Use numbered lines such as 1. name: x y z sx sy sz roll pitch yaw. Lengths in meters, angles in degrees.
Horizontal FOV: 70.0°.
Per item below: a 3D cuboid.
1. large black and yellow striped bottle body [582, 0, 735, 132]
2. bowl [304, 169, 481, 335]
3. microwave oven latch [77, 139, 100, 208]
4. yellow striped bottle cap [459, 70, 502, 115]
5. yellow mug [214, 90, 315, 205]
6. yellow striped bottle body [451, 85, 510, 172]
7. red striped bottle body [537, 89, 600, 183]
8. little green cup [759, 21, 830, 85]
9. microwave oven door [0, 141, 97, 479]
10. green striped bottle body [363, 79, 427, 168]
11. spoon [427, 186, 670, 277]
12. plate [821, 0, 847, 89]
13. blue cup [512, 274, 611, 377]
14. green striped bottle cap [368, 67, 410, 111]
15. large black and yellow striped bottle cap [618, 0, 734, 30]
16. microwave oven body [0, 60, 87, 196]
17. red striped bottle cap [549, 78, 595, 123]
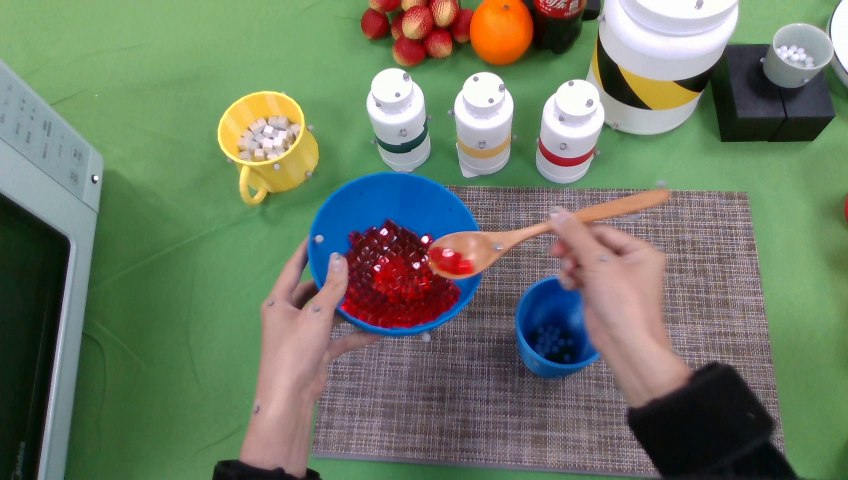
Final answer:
1. large black and yellow striped bottle body: 0.248 -0.217 0.652 0.131 0.185 0.130 -2 67 5
2. bowl: -0.029 0.021 0.538 0.152 0.077 0.150 4 64 -8
3. microwave oven latch: -0.400 -0.077 0.707 0.030 0.030 0.078 -5 67 2
4. yellow striped bottle cap: 0.058 -0.151 0.618 0.044 0.019 0.044 -1 68 4
5. yellow mug: -0.188 -0.102 0.705 0.100 0.064 0.130 11 69 9
6. yellow striped bottle body: 0.063 -0.130 0.665 0.063 0.121 0.062 -2 67 5
7. red striped bottle body: 0.155 -0.117 0.653 0.063 0.121 0.062 -4 64 8
8. little green cup: 0.398 -0.200 0.656 0.061 0.039 0.061 -1 66 3
9. microwave oven door: -0.389 0.083 0.528 0.039 0.246 0.353 -8 66 2
10. green striped bottle body: -0.031 -0.136 0.676 0.063 0.120 0.062 -2 66 4
11. spoon: 0.096 -0.010 0.476 0.193 0.022 0.041 -17 62 13
12. plate: 0.569 -0.224 0.706 0.209 0.038 0.207 -2 67 4
13. blue cup: 0.123 0.089 0.574 0.092 0.101 0.092 -2 66 4
14. green striped bottle cap: -0.037 -0.157 0.629 0.044 0.020 0.044 -1 66 3
15. large black and yellow striped bottle cap: 0.239 -0.249 0.574 0.115 0.019 0.114 -2 66 5
16. microwave oven body: -0.537 0.065 0.554 0.326 0.262 0.438 -7 67 2
17. red striped bottle cap: 0.148 -0.139 0.605 0.044 0.018 0.044 0 65 0
